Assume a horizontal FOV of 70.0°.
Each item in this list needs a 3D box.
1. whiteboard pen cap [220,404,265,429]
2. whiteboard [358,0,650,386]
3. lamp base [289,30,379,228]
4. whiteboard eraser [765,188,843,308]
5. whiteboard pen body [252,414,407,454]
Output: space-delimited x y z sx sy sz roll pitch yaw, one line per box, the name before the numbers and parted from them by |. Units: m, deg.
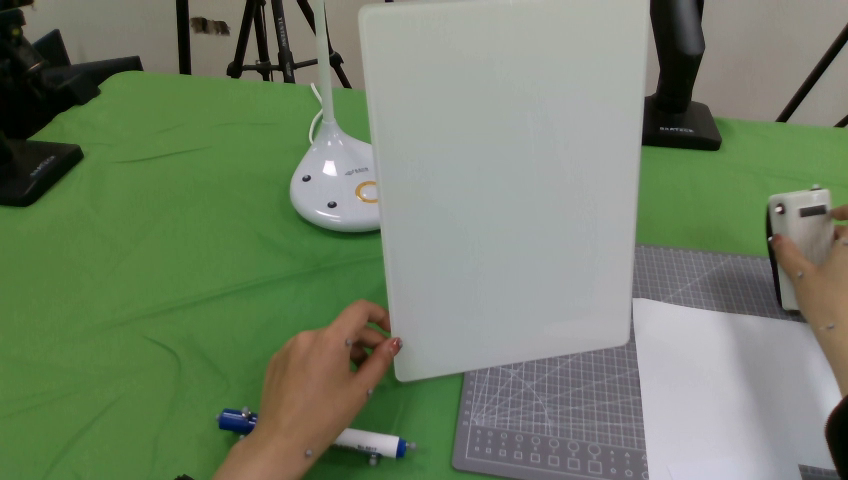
whiteboard pen cap | -0.141 0.139 0.476 0.033 0.018 0.018 7 40 4
whiteboard | 0.060 -0.054 0.542 0.217 0.307 0.142 -7 22 -8
lamp base | -0.088 -0.131 0.683 0.161 0.182 0.177 -27 45 -29
whiteboard eraser | 0.364 0.008 0.585 0.056 0.112 0.041 -9 2 -9
whiteboard pen body | -0.083 0.149 0.470 0.140 0.017 0.017 7 40 4
